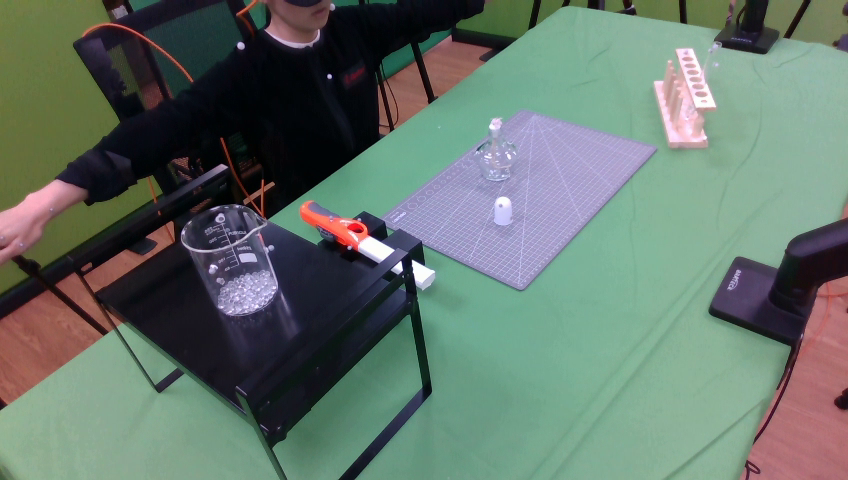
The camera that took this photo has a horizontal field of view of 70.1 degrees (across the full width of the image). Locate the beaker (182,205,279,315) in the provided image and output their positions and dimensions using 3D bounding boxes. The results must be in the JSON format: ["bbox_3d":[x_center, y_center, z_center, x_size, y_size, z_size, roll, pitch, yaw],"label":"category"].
[{"bbox_3d":[-0.197,0.024,0.641,0.084,0.101,0.073,-12,41,-6],"label":"beaker"}]

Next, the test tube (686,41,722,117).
[{"bbox_3d":[0.510,-0.290,1.105,0.017,0.150,0.017,2,44,-1],"label":"test tube"}]

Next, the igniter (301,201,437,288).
[{"bbox_3d":[-0.094,0.000,0.913,0.274,0.025,0.057,28,49,32],"label":"igniter"}]

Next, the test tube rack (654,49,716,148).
[{"bbox_3d":[0.502,-0.281,1.176,0.066,0.085,0.241,1,41,11],"label":"test tube rack"}]

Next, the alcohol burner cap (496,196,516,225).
[{"bbox_3d":[0.134,-0.051,0.995,0.034,0.048,0.033,-5,42,5],"label":"alcohol burner cap"}]

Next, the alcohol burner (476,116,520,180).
[{"bbox_3d":[0.131,-0.167,1.075,0.078,0.119,0.077,-6,42,6],"label":"alcohol burner"}]
